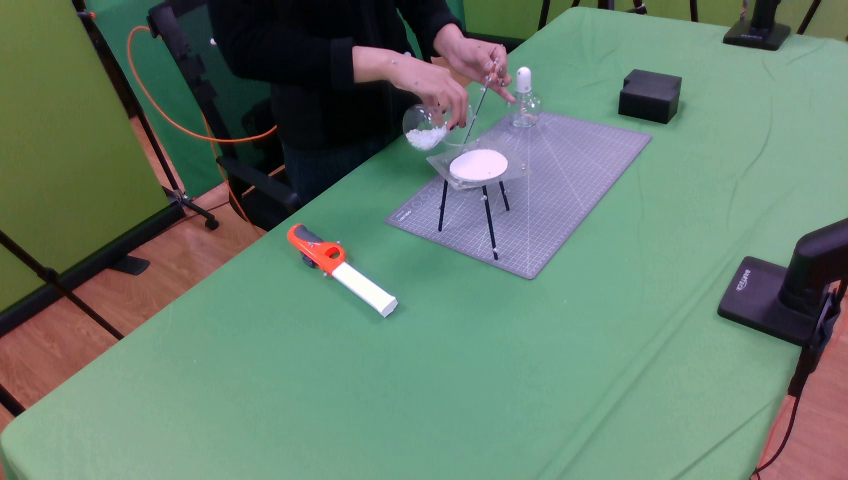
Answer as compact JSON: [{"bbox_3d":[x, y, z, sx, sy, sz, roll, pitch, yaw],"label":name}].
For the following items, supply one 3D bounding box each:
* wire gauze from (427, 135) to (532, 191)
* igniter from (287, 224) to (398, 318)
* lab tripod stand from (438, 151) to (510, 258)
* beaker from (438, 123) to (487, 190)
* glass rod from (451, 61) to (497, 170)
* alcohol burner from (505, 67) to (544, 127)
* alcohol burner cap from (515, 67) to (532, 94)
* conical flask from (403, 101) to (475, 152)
[{"bbox_3d":[0.081,-0.115,0.909,0.125,0.011,0.120,-18,39,-11],"label":"wire gauze"},{"bbox_3d":[-0.139,0.042,0.958,0.057,0.025,0.274,-42,49,-19],"label":"igniter"},{"bbox_3d":[0.087,-0.064,0.952,0.148,0.132,0.147,-6,38,5],"label":"lab tripod stand"},{"bbox_3d":[0.072,-0.147,1.080,0.084,0.101,0.073,-5,40,7],"label":"beaker"},{"bbox_3d":[0.083,-0.210,1.034,0.008,0.199,0.008,19,24,-9],"label":"glass rod"},{"bbox_3d":[0.201,-0.288,1.211,0.078,0.119,0.077,-6,38,5],"label":"alcohol burner"},{"bbox_3d":[0.197,-0.315,1.187,0.034,0.048,0.033,-3,46,3],"label":"alcohol burner cap"},{"bbox_3d":[0.030,-0.194,0.980,0.074,0.075,0.122,27,41,35],"label":"conical flask"}]
